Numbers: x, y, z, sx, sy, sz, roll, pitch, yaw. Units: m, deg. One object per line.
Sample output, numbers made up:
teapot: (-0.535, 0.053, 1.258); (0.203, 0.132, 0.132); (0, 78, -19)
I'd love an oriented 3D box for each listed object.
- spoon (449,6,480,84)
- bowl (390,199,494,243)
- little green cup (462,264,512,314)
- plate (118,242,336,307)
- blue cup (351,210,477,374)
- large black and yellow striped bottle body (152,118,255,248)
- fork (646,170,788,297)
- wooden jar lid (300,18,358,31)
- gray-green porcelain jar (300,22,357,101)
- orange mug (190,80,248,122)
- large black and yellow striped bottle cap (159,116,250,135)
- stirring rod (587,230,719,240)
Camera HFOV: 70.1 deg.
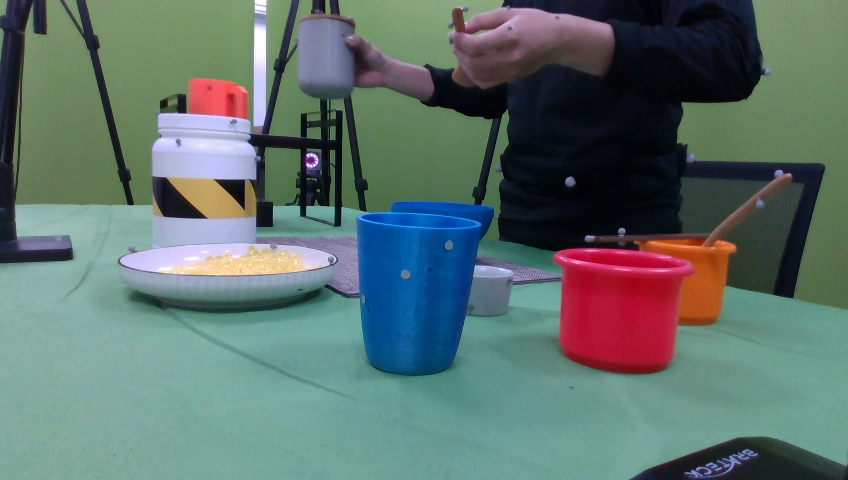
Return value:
spoon: (0.045, -0.238, 0.753); (0.041, 0.021, 0.194); (12, -11, 11)
bowl: (0.024, -0.015, 0.871); (0.151, 0.077, 0.151); (3, 7, 0)
little green cup: (0.053, 0.047, 0.580); (0.061, 0.038, 0.061); (3, 8, 0)
plate: (-0.194, 0.033, 0.615); (0.209, 0.038, 0.209); (2, 7, 0)
blue cup: (-0.009, 0.034, 0.414); (0.093, 0.100, 0.092); (3, 9, 0)
large black and yellow striped bottle body: (-0.296, -0.070, 0.819); (0.131, 0.184, 0.130); (2, 7, 0)
fork: (0.256, 0.004, 0.543); (0.028, 0.018, 0.207); (3, -37, -10)
wooden jar lid: (-0.177, -0.391, 1.131); (0.108, 0.020, 0.108); (0, 4, 0)
gray-green porcelain jar: (-0.179, -0.330, 1.135); (0.106, 0.126, 0.106); (1, 4, 0)
orange mug: (-0.394, -0.257, 1.173); (0.126, 0.100, 0.084); (1, 6, 25)
large black and yellow striped bottle cap: (-0.292, -0.153, 0.810); (0.115, 0.019, 0.115); (3, 9, 0)
stirring rod: (0.226, -0.006, 0.587); (0.177, 0.006, 0.014); (-2, 10, -29)
